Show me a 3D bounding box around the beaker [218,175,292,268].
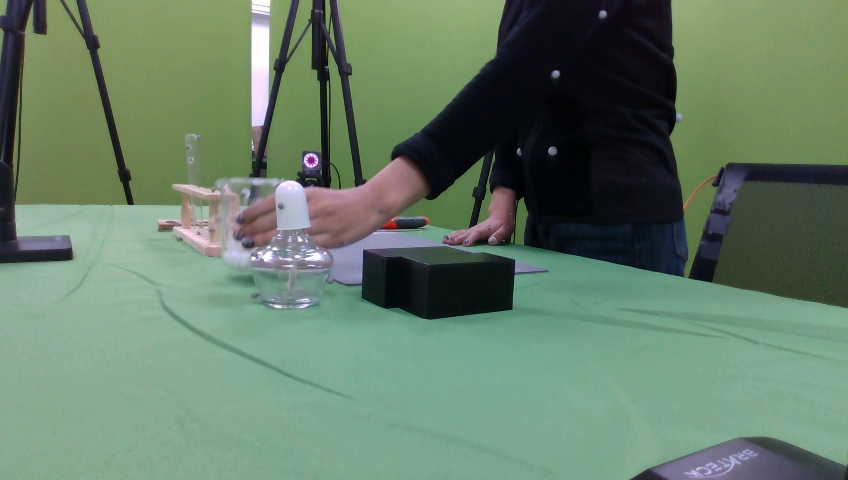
[{"bbox_3d":[-0.193,-0.022,0.682,0.084,0.100,0.074,3,6,7],"label":"beaker"}]

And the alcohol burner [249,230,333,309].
[{"bbox_3d":[-0.125,0.004,0.568,0.078,0.119,0.078,1,9,0],"label":"alcohol burner"}]

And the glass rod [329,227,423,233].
[{"bbox_3d":[-0.087,-0.019,1.148,0.201,0.008,0.008,-3,8,-32],"label":"glass rod"}]

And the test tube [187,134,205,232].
[{"bbox_3d":[-0.350,-0.087,0.928,0.017,0.150,0.017,-3,5,1],"label":"test tube"}]

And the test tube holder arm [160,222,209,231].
[{"bbox_3d":[-0.423,-0.024,1.076,0.088,0.015,0.010,-3,45,-38],"label":"test tube holder arm"}]

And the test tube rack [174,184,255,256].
[{"bbox_3d":[-0.327,-0.036,0.928,0.067,0.085,0.241,-2,9,-32],"label":"test tube rack"}]

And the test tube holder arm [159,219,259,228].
[{"bbox_3d":[-0.390,-0.030,1.107,0.179,0.015,0.013,-4,45,-39],"label":"test tube holder arm"}]

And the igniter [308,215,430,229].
[{"bbox_3d":[-0.109,-0.037,1.228,0.278,0.025,0.057,-3,-1,-35],"label":"igniter"}]

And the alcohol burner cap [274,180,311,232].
[{"bbox_3d":[-0.125,-0.032,0.563,0.034,0.048,0.034,-5,6,1],"label":"alcohol burner cap"}]
